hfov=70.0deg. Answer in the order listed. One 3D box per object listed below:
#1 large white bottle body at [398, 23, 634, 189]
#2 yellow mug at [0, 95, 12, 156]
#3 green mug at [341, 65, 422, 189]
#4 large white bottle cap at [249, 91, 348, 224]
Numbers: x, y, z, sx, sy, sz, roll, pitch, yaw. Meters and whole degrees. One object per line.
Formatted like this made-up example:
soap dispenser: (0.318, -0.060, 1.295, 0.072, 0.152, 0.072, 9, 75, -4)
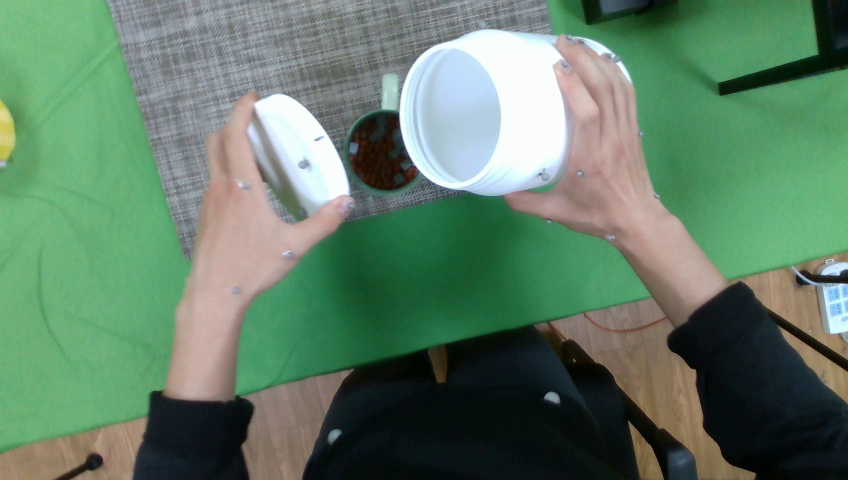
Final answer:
large white bottle body: (0.080, -0.114, 0.517, 0.185, 0.130, 0.131, -15, 101, -44)
yellow mug: (-0.483, -0.104, 0.599, 0.100, 0.064, 0.131, 19, 97, -8)
green mug: (-0.038, -0.113, 0.614, 0.092, 0.104, 0.125, 3, 97, -5)
large white bottle cap: (-0.104, -0.066, 0.500, 0.018, 0.114, 0.115, -36, 100, -29)
